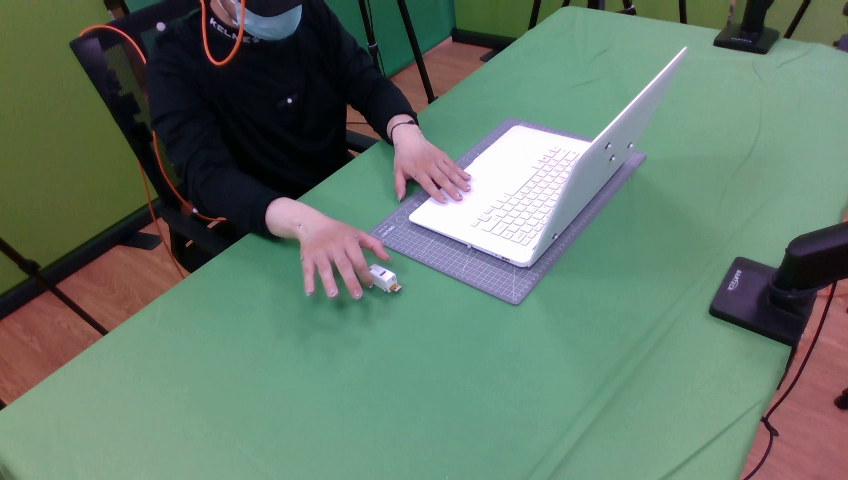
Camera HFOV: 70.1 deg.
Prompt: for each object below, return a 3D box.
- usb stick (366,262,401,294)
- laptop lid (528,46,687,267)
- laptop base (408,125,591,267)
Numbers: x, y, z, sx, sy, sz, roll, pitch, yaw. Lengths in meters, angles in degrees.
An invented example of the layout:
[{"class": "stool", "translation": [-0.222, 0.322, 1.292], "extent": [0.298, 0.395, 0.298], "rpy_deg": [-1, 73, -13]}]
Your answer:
[{"class": "usb stick", "translation": [-0.059, 0.059, 0.904], "extent": [0.058, 0.027, 0.021], "rpy_deg": [30, 55, 29]}, {"class": "laptop lid", "translation": [0.277, -0.126, 0.903], "extent": [0.013, 0.242, 0.358], "rpy_deg": [35, 53, 17]}, {"class": "laptop base", "translation": [0.168, -0.092, 1.054], "extent": [0.233, 0.023, 0.355], "rpy_deg": [21, 47, 33]}]
